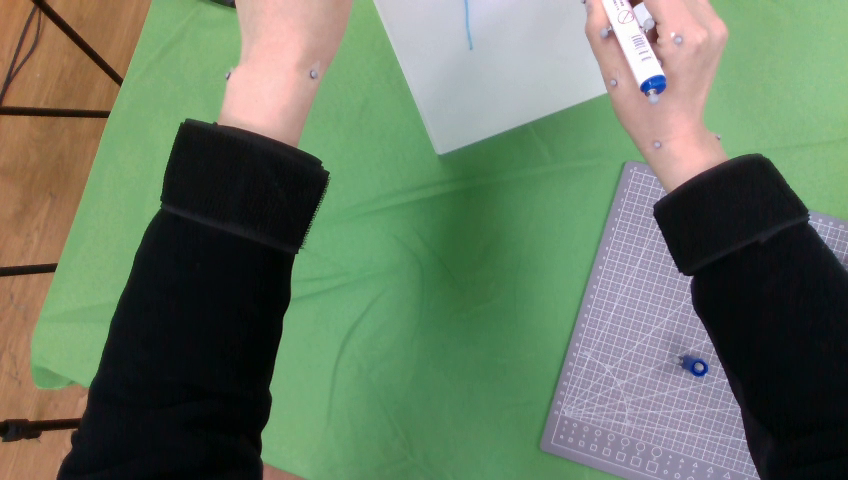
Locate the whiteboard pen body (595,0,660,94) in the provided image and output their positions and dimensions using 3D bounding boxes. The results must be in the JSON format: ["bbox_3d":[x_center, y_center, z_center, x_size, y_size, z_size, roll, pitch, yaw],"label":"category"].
[{"bbox_3d":[0.119,-0.152,0.386,0.017,0.017,0.139,-16,68,5],"label":"whiteboard pen body"}]

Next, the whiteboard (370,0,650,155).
[{"bbox_3d":[0.060,-0.237,0.498,0.217,0.308,0.142,-19,67,5],"label":"whiteboard"}]

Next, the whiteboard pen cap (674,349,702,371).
[{"bbox_3d":[0.250,0.113,0.576,0.018,0.033,0.018,0,90,5],"label":"whiteboard pen cap"}]
